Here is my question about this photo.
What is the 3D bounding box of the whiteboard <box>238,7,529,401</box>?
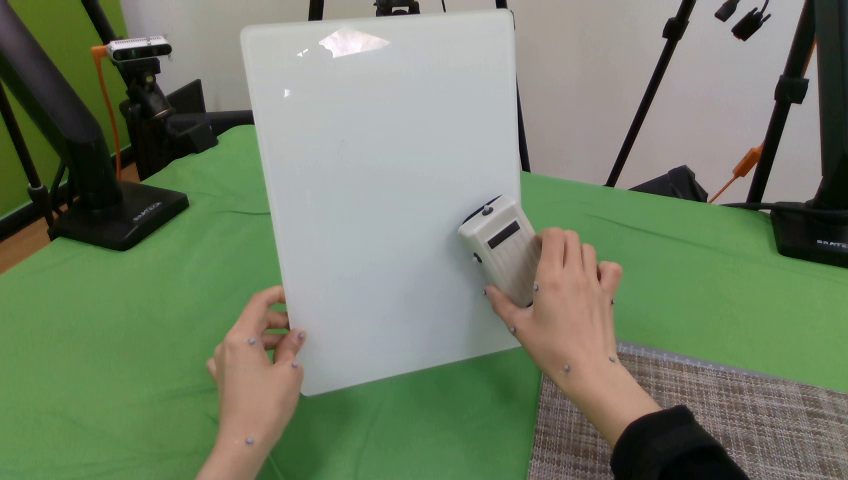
[{"bbox_3d":[-0.036,-0.042,0.568,0.218,0.307,0.143,-10,16,-15],"label":"whiteboard"}]

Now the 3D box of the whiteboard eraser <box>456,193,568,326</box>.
[{"bbox_3d":[0.077,0.018,0.529,0.055,0.113,0.041,-39,23,-10],"label":"whiteboard eraser"}]
